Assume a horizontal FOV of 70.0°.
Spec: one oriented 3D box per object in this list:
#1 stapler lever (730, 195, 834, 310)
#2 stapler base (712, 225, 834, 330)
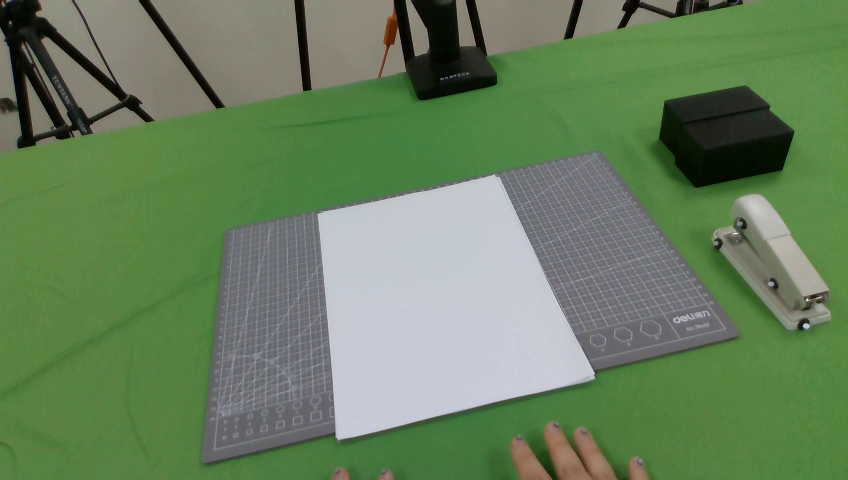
[{"bbox_3d":[0.309,0.006,0.526,0.027,0.040,0.116,-14,43,-3],"label":"stapler lever"},{"bbox_3d":[0.311,0.024,0.545,0.041,0.025,0.129,-14,43,-3],"label":"stapler base"}]
